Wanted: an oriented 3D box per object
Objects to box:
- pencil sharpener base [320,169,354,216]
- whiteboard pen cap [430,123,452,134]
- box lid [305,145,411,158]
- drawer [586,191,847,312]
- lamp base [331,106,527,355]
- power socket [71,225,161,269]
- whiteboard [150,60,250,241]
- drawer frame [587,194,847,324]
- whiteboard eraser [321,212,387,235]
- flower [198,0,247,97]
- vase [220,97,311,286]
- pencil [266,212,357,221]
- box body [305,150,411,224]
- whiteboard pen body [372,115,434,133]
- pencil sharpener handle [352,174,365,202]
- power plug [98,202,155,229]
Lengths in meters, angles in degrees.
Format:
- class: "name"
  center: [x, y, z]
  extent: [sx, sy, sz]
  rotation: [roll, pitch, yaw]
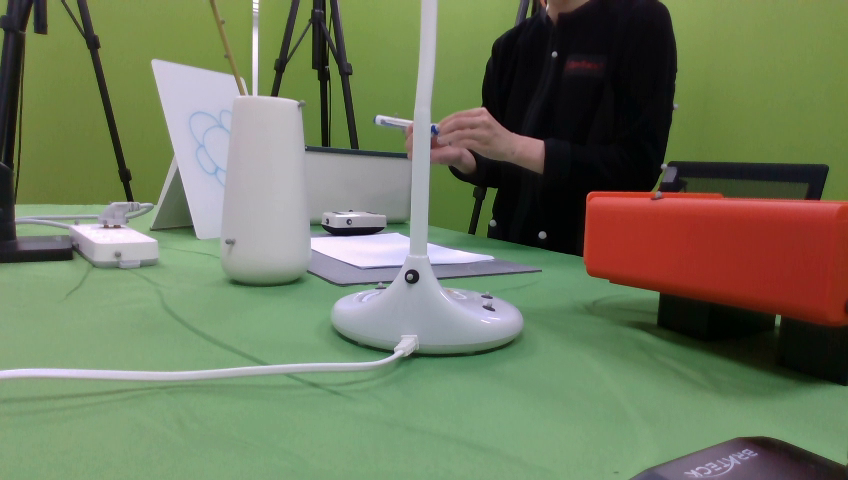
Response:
- class: "pencil sharpener base"
  center: [-0.207, -0.113, 1.439]
  extent: [0.077, 0.107, 0.061]
  rotation: [1, 6, -11]
- class: "whiteboard pen cap"
  center: [0.026, -0.179, 0.967]
  extent: [0.033, 0.018, 0.018]
  rotation: [13, 11, 26]
- class: "box lid"
  center: [-0.228, -0.200, 1.362]
  extent: [0.373, 0.015, 0.262]
  rotation: [-1, 8, -33]
- class: "drawer"
  center: [0.281, 0.001, 0.512]
  extent: [0.195, 0.073, 0.210]
  rotation: [-1, 8, -29]
- class: "lamp base"
  center: [0.006, -0.012, 0.478]
  extent: [0.161, 0.180, 0.179]
  rotation: [2, 10, 2]
- class: "power socket"
  center: [-0.408, 0.004, 0.793]
  extent: [0.072, 0.032, 0.225]
  rotation: [-2, 8, -38]
- class: "whiteboard"
  center: [-0.408, -0.139, 1.093]
  extent: [0.143, 0.305, 0.218]
  rotation: [-15, -1, 26]
- class: "drawer frame"
  center: [0.286, 0.004, 0.508]
  extent: [0.203, 0.082, 0.212]
  rotation: [-1, 6, -30]
- class: "whiteboard eraser"
  center: [-0.128, -0.031, 1.108]
  extent: [0.113, 0.042, 0.055]
  rotation: [-3, 8, -38]
- class: "flower"
  center: [-0.187, -0.133, 0.648]
  extent: [0.038, 0.362, 0.044]
  rotation: [0, 22, 43]
- class: "vase"
  center: [-0.172, -0.052, 0.662]
  extent: [0.098, 0.200, 0.098]
  rotation: [3, 8, 0]
- class: "pencil"
  center: [-0.244, -0.049, 1.319]
  extent: [0.195, 0.012, 0.012]
  rotation: [3, 7, -12]
- class: "box body"
  center: [-0.230, -0.126, 1.372]
  extent: [0.366, 0.160, 0.253]
  rotation: [-2, 8, -33]
- class: "whiteboard pen body"
  center: [-0.025, -0.190, 0.995]
  extent: [0.140, 0.017, 0.017]
  rotation: [14, 12, 26]
- class: "pencil sharpener handle"
  center: [-0.156, -0.125, 1.450]
  extent: [0.031, 0.068, 0.036]
  rotation: [1, 20, -11]
- class: "power plug"
  center: [-0.416, -0.027, 0.848]
  extent: [0.073, 0.052, 0.035]
  rotation: [0, 8, -28]
